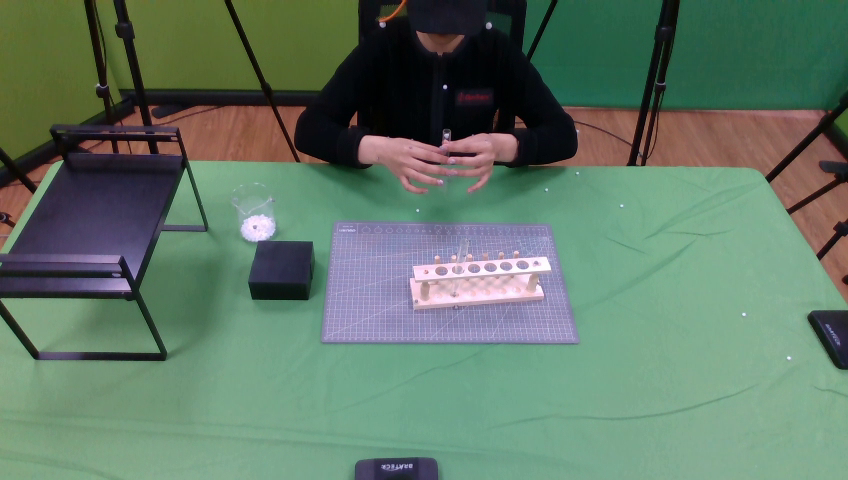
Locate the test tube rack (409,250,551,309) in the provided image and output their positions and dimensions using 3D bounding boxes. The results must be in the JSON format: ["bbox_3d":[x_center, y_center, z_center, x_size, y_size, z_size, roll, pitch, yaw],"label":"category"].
[{"bbox_3d":[0.098,0.065,1.096,0.243,0.085,0.066,-4,47,-8],"label":"test tube rack"}]

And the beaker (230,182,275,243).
[{"bbox_3d":[-0.328,-0.049,1.166,0.074,0.101,0.083,2,47,-2],"label":"beaker"}]

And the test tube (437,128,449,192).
[{"bbox_3d":[0.037,-0.153,1.181,0.017,0.151,0.017,1,44,-1],"label":"test tube"}]

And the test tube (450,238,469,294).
[{"bbox_3d":[0.060,0.048,1.040,0.017,0.151,0.017,3,51,-3],"label":"test tube"}]
